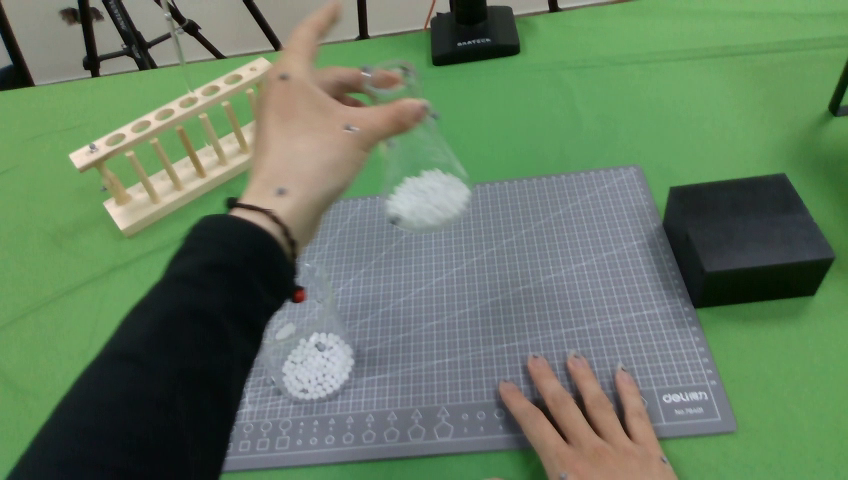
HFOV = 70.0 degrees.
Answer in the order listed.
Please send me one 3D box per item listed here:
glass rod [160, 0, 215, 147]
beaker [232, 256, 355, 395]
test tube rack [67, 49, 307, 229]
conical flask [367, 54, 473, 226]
[{"bbox_3d":[-0.264,-0.190,0.675,0.008,0.201,0.008,-3,41,3],"label":"glass rod"},{"bbox_3d":[-0.098,0.071,0.488,0.073,0.101,0.083,19,54,25],"label":"beaker"},{"bbox_3d":[-0.265,-0.121,0.703,0.242,0.086,0.066,-35,52,-20],"label":"test tube rack"},{"bbox_3d":[-0.008,-0.074,0.446,0.075,0.123,0.074,-7,48,9],"label":"conical flask"}]
